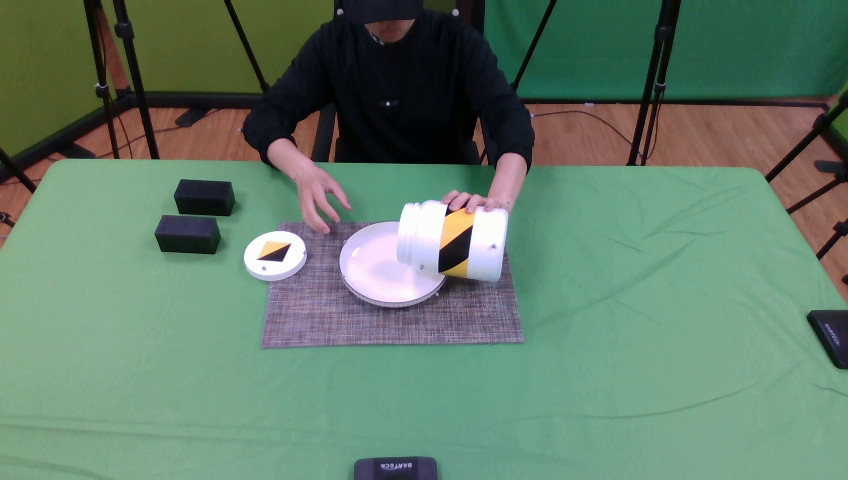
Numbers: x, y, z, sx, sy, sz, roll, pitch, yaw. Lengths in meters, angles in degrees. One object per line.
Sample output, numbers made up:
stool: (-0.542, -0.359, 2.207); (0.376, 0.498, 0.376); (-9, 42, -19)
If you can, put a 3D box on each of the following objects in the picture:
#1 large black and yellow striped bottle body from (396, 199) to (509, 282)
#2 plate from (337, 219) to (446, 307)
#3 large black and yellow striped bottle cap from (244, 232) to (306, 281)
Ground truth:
large black and yellow striped bottle body: (0.051, -0.001, 1.069); (0.184, 0.131, 0.130); (8, 46, 8)
plate: (-0.057, 0.045, 1.133); (0.208, 0.039, 0.206); (2, 46, -2)
large black and yellow striped bottle cap: (-0.282, 0.030, 1.145); (0.115, 0.019, 0.114); (-1, 45, 1)
